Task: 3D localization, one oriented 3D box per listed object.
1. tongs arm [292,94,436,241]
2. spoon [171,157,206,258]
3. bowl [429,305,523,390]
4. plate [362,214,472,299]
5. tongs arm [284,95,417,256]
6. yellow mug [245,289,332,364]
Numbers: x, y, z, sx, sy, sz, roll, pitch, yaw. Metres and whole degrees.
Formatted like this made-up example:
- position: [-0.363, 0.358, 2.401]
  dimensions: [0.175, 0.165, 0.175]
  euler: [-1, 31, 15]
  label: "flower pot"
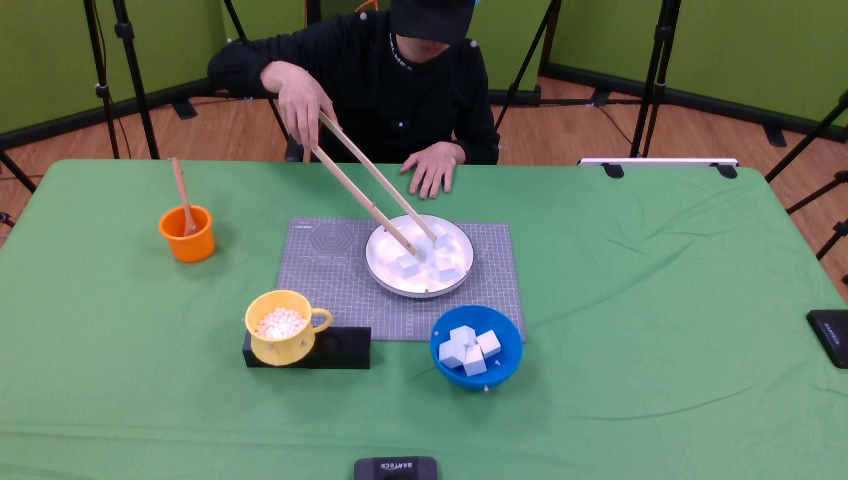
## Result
- position: [-0.113, -0.139, 1.136]
  dimensions: [0.028, 0.028, 0.386]
  euler: [-39, 80, -25]
  label: "tongs arm"
- position: [-0.444, -0.061, 1.133]
  dimensions: [0.042, 0.193, 0.021]
  euler: [-12, 4, -20]
  label: "spoon"
- position: [0.080, 0.188, 0.985]
  dimensions: [0.151, 0.077, 0.150]
  euler: [3, 46, -3]
  label: "bowl"
- position: [-0.014, 0.034, 1.150]
  dimensions: [0.208, 0.039, 0.206]
  euler: [3, 46, -2]
  label: "plate"
- position: [-0.136, -0.122, 1.120]
  dimensions: [0.384, 0.026, 0.050]
  euler: [45, 61, 8]
  label: "tongs arm"
- position: [-0.210, 0.132, 0.954]
  dimensions: [0.131, 0.064, 0.099]
  euler: [-9, 48, -14]
  label: "yellow mug"
